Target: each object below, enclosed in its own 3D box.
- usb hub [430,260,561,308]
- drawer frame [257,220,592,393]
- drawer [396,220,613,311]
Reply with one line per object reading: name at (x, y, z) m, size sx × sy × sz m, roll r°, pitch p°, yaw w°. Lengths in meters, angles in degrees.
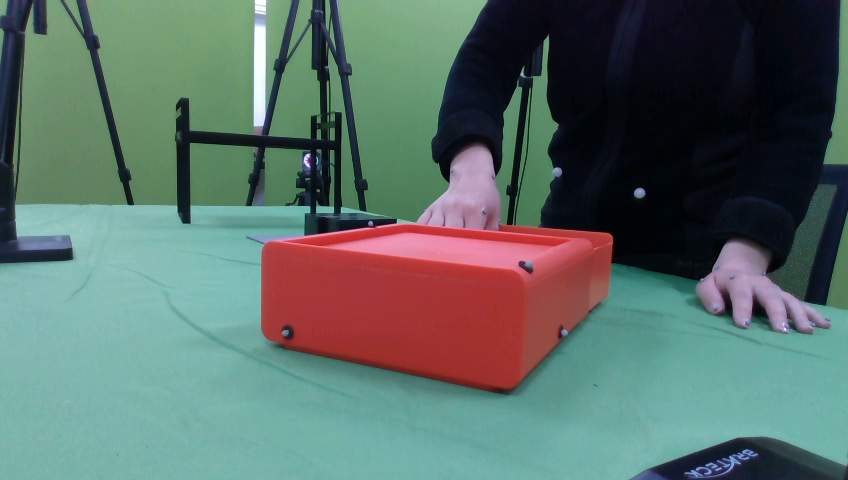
usb hub at (0.072, 0.043, 0.613) m, size 0.124 × 0.025 × 0.050 m, roll 8°, pitch 11°, yaw 28°
drawer frame at (0.014, 0.037, 0.491) m, size 0.201 × 0.082 × 0.214 m, roll 6°, pitch 9°, yaw 24°
drawer at (0.061, 0.027, 0.583) m, size 0.194 × 0.073 × 0.212 m, roll 7°, pitch 8°, yaw 27°
